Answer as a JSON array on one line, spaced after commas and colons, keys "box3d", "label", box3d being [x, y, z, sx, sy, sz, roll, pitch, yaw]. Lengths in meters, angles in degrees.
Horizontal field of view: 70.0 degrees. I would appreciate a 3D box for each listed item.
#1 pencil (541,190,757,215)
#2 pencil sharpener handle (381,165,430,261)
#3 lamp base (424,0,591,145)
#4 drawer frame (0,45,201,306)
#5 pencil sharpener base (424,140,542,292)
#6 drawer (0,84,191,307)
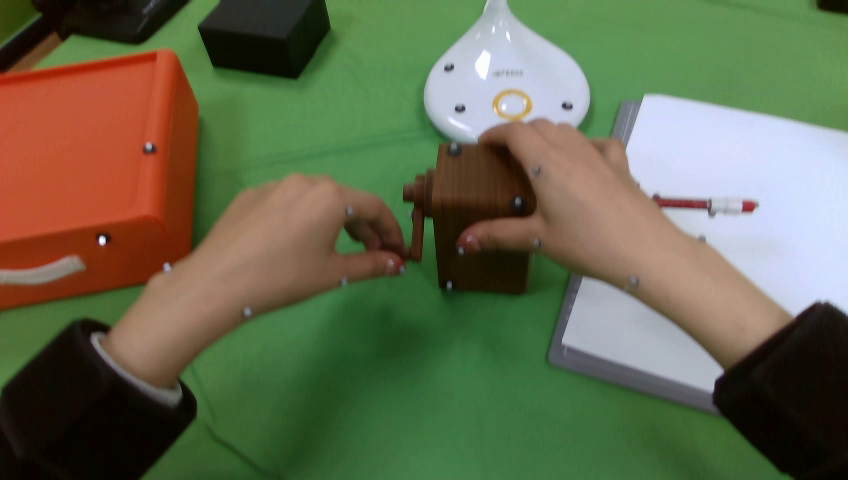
[{"box3d": [0.122, -0.028, 0.409, 0.194, 0.012, 0.012, 4, 52, 4], "label": "pencil"}, {"box3d": [-0.012, -0.019, 0.417, 0.030, 0.036, 0.067, 2, 77, 6], "label": "pencil sharpener handle"}, {"box3d": [0.073, -0.202, 0.535, 0.161, 0.182, 0.177, -10, 50, -4], "label": "lamp base"}, {"box3d": [-0.301, -0.057, 0.508, 0.202, 0.083, 0.211, -11, 52, -4], "label": "drawer frame"}, {"box3d": [0.042, -0.015, 0.437, 0.076, 0.108, 0.061, 2, 53, 6], "label": "pencil sharpener base"}, {"box3d": [-0.298, -0.054, 0.508, 0.195, 0.074, 0.209, -11, 51, -4], "label": "drawer"}]
